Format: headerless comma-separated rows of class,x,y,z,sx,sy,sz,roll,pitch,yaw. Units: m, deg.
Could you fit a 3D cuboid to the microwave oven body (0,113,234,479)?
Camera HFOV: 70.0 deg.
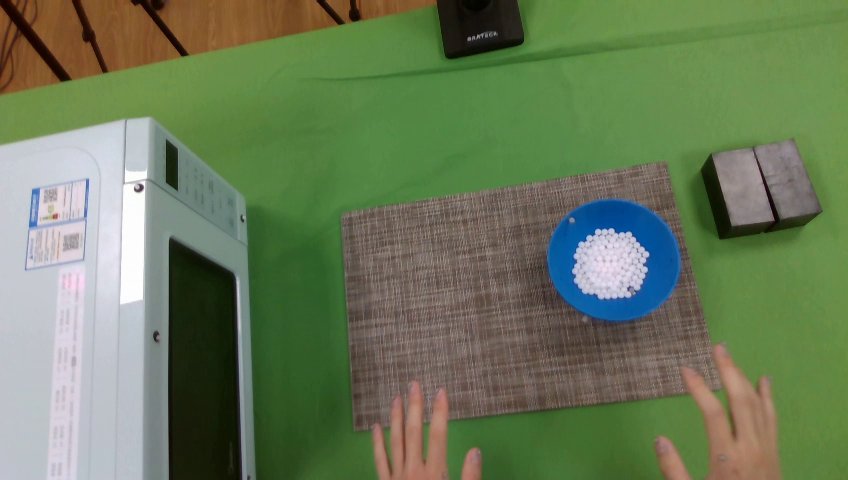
microwave oven body,-0.409,0.128,0.714,0.326,0.262,0.438,-10,73,5

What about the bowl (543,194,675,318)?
bowl,0.220,0.027,0.744,0.151,0.077,0.150,-2,73,8

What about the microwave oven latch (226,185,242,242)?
microwave oven latch,-0.272,-0.035,0.845,0.030,0.030,0.078,-10,73,5

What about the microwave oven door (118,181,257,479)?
microwave oven door,-0.261,0.140,0.683,0.039,0.245,0.353,-11,72,6
